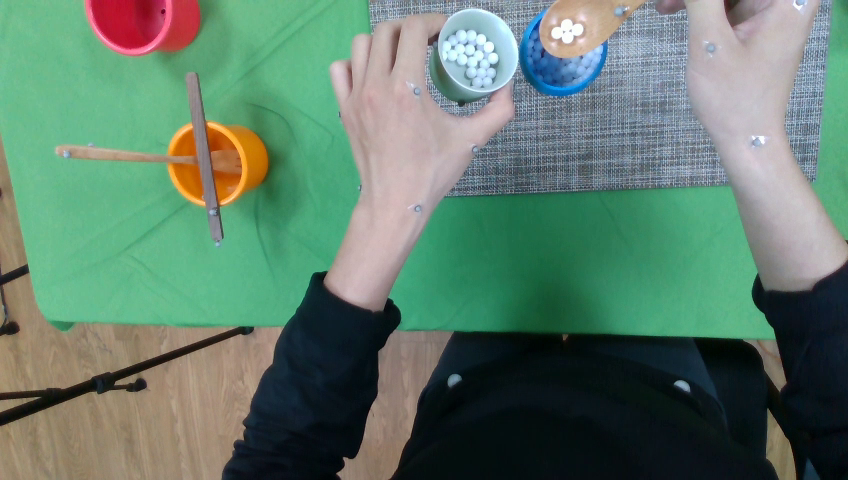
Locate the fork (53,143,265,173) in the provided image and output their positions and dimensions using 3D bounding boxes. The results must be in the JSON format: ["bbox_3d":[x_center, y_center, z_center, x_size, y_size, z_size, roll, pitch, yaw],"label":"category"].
[{"bbox_3d":[-0.273,-0.088,0.646,0.208,0.018,0.028,-1,116,-35],"label":"fork"}]

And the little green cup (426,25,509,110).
[{"bbox_3d":[0.032,-0.132,0.461,0.061,0.038,0.062,-1,114,-2],"label":"little green cup"}]

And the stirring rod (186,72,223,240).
[{"bbox_3d":[-0.231,-0.086,0.637,0.014,0.006,0.177,-2,103,10],"label":"stirring rod"}]

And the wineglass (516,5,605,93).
[{"bbox_3d":[0.119,-0.168,0.544,0.073,0.172,0.074,2,104,9],"label":"wineglass"}]

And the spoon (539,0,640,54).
[{"bbox_3d":[0.154,-0.162,0.366,0.193,0.021,0.042,-12,109,46],"label":"spoon"}]
